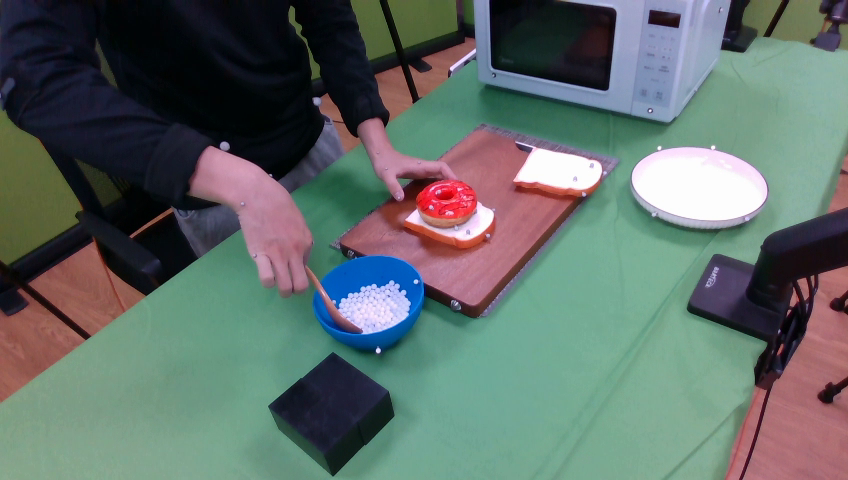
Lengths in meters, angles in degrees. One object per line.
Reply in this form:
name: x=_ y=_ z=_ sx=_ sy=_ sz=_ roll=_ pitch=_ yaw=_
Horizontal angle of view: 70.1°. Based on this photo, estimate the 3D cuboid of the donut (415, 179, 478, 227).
donut: x=0.036 y=-0.058 z=0.944 sx=0.099 sy=0.048 sz=0.098 roll=-5 pitch=40 yaw=4

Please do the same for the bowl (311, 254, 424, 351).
bowl: x=-0.071 y=0.098 z=0.821 sx=0.151 sy=0.077 sz=0.150 roll=-4 pitch=40 yaw=4

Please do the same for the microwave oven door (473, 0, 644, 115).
microwave oven door: x=0.257 y=-0.396 z=1.199 sx=0.353 sy=0.245 sz=0.039 roll=21 pitch=48 yaw=29

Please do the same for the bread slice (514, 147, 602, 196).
bread slice: x=0.233 y=-0.115 z=1.027 sx=0.133 sy=0.018 sz=0.107 roll=13 pitch=45 yaw=20

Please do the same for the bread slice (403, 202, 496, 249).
bread slice: x=0.048 y=-0.034 z=0.961 sx=0.130 sy=0.019 sz=0.105 roll=22 pitch=49 yaw=32

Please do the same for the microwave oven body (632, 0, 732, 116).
microwave oven body: x=0.377 y=-0.462 z=1.267 sx=0.438 sy=0.261 sz=0.327 roll=21 pitch=49 yaw=30

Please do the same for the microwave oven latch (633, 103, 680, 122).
microwave oven latch: x=0.444 y=-0.249 z=1.157 sx=0.078 sy=0.029 sz=0.030 roll=21 pitch=49 yaw=30

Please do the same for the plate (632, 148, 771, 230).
plate: x=0.447 y=-0.081 z=0.988 sx=0.207 sy=0.039 sz=0.206 roll=-4 pitch=40 yaw=4

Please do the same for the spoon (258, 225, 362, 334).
spoon: x=-0.149 y=0.053 z=0.792 sx=0.022 sy=0.194 sz=0.041 roll=-39 pitch=6 yaw=-16
